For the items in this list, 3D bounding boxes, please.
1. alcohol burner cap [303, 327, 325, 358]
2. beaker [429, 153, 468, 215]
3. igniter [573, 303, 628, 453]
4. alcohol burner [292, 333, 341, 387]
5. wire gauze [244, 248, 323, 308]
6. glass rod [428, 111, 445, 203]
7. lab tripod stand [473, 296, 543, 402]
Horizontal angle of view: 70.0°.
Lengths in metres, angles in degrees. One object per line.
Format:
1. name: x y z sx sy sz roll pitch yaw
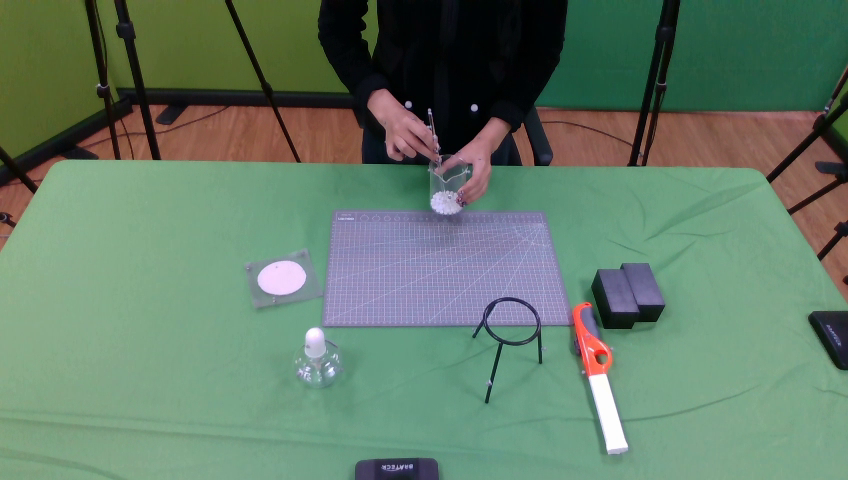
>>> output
1. alcohol burner cap: -0.169 0.154 0.925 0.034 0.048 0.033 4 41 -3
2. beaker: 0.045 -0.104 1.173 0.074 0.101 0.083 5 43 6
3. igniter: 0.288 0.216 1.006 0.057 0.025 0.274 -10 46 8
4. alcohol burner: -0.170 0.179 0.950 0.078 0.120 0.077 2 48 -2
5. wire gauze: -0.262 0.071 1.121 0.125 0.011 0.120 -11 48 -17
6. glass rod: 0.024 -0.151 1.137 0.008 0.201 0.008 -7 38 5
7. lab tripod stand: 0.132 0.168 0.969 0.148 0.132 0.147 3 48 -3
